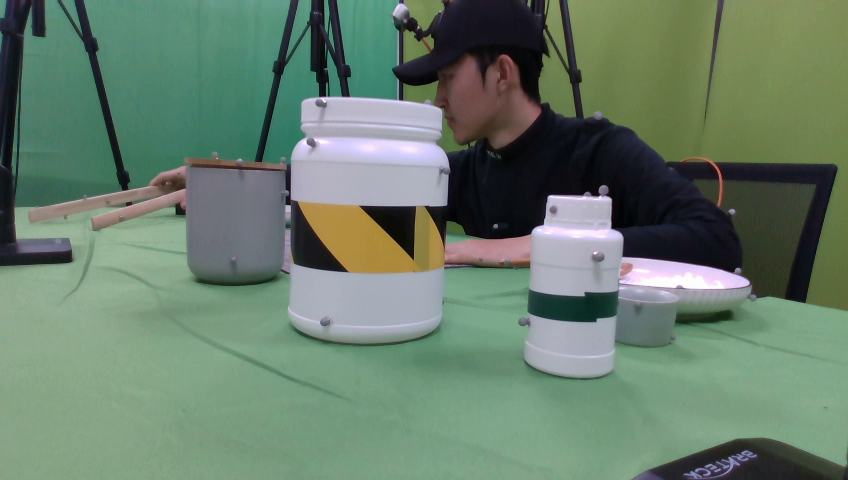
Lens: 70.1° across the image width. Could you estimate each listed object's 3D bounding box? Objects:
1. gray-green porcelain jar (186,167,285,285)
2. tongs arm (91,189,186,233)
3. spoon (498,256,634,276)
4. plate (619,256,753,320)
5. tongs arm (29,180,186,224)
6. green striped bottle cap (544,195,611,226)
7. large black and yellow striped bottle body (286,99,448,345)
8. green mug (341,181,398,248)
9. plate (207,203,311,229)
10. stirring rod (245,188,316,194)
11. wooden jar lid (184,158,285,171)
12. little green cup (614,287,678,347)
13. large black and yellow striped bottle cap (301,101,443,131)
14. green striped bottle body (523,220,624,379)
[{"bbox_3d":[-0.212,-0.017,0.682,0.106,0.126,0.106,2,7,0],"label":"gray-green porcelain jar"},{"bbox_3d":[-0.537,-0.074,1.221,0.028,0.028,0.388,0,15,10],"label":"tongs arm"},{"bbox_3d":[0.161,0.027,0.679,0.195,0.021,0.041,8,3,-30],"label":"spoon"},{"bbox_3d":[0.234,0.049,0.651,0.209,0.038,0.209,2,7,0],"label":"plate"},{"bbox_3d":[-0.610,-0.083,1.241,0.050,0.026,0.386,7,16,21],"label":"tongs arm"},{"bbox_3d":[0.105,-0.020,0.415,0.044,0.020,0.044,2,5,0],"label":"green striped bottle cap"},{"bbox_3d":[-0.047,-0.018,0.501,0.131,0.184,0.130,2,7,0],"label":"large black and yellow striped bottle body"},{"bbox_3d":[-0.089,-0.044,0.997,0.093,0.105,0.125,1,7,-8],"label":"green mug"},{"bbox_3d":[-0.342,-0.050,1.259,0.208,0.039,0.207,2,7,0],"label":"plate"},{"bbox_3d":[-0.351,-0.120,1.489,0.177,0.014,0.006,-3,5,-28],"label":"stirring rod"},{"bbox_3d":[-0.210,-0.078,0.674,0.108,0.020,0.108,5,6,0],"label":"wooden jar lid"},{"bbox_3d":[0.180,0.064,0.506,0.061,0.038,0.061,1,9,0],"label":"little green cup"},{"bbox_3d":[-0.042,-0.099,0.491,0.115,0.019,0.115,1,8,0],"label":"large black and yellow striped bottle cap"},{"bbox_3d":[0.104,0.031,0.422,0.063,0.119,0.063,3,7,0],"label":"green striped bottle body"}]
